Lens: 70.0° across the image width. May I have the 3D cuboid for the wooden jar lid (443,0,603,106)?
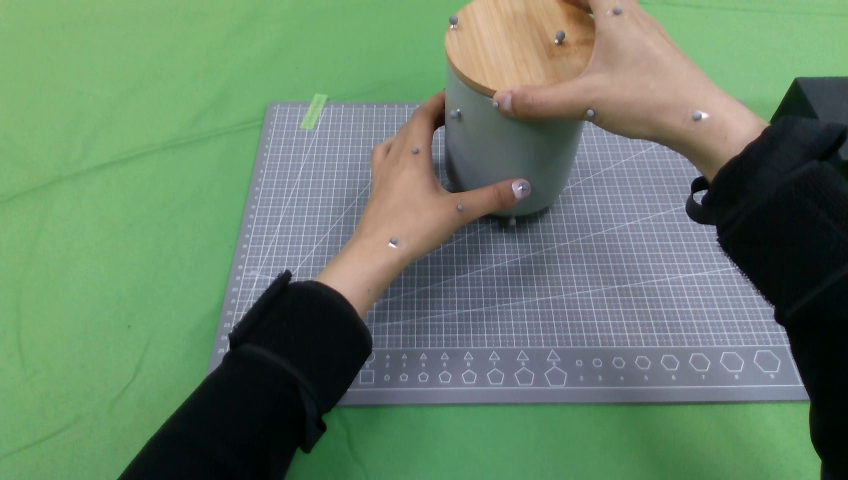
[{"bbox_3d":[0.067,-0.127,0.416,0.108,0.021,0.107,0,55,1],"label":"wooden jar lid"}]

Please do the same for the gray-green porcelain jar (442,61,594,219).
[{"bbox_3d":[0.067,-0.087,0.467,0.106,0.127,0.105,0,53,0],"label":"gray-green porcelain jar"}]
